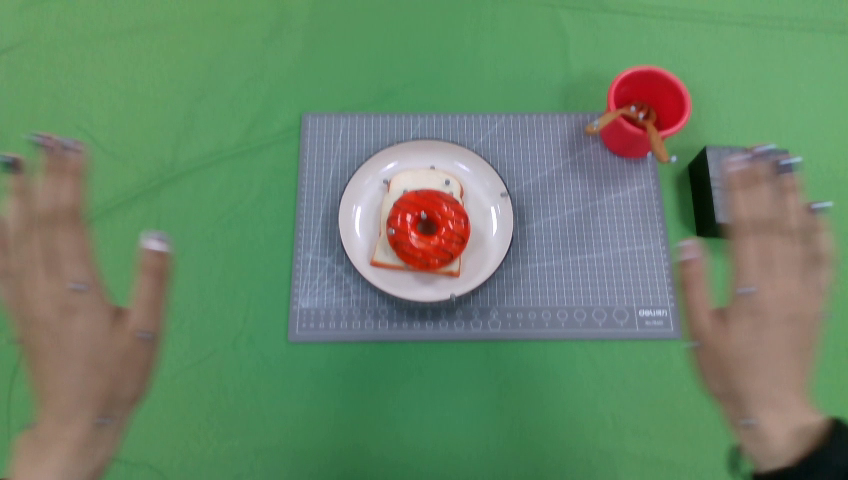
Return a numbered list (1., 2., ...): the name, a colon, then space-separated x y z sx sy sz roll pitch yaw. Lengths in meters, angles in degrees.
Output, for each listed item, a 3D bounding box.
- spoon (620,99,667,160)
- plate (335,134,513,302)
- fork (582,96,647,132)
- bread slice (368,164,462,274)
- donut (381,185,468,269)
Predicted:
1. spoon: 0.256 -0.132 0.701 0.041 0.022 0.192 7 27 7
2. plate: 0.000 -0.025 0.715 0.209 0.038 0.207 1 72 -1
3. fork: 0.221 -0.147 0.697 0.028 0.019 0.207 33 31 20
4. bread slice: -0.007 -0.029 0.718 0.105 0.019 0.131 6 72 -1
5. donut: 0.001 -0.015 0.684 0.099 0.048 0.098 1 75 -4
